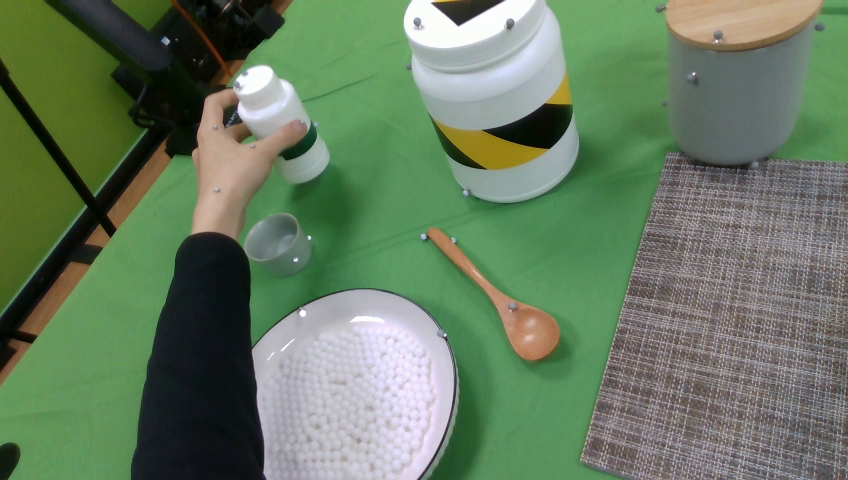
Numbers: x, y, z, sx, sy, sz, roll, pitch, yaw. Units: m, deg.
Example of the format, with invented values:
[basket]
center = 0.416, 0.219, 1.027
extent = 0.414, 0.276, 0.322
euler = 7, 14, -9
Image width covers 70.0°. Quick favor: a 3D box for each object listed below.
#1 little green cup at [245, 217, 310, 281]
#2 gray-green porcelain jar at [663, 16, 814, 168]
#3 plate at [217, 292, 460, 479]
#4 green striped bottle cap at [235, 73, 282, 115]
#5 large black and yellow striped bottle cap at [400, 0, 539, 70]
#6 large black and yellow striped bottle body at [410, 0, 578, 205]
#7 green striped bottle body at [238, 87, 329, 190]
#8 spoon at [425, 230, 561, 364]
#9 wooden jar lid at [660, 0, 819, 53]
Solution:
[little green cup]
center = -0.150, 0.011, 0.629
extent = 0.061, 0.039, 0.061
euler = -14, 47, 16
[gray-green porcelain jar]
center = 0.258, -0.134, 0.511
extent = 0.105, 0.128, 0.105
euler = -11, 47, 12
[plate]
center = -0.067, 0.139, 0.497
extent = 0.209, 0.038, 0.207
euler = -11, 50, 14
[green striped bottle cap]
center = -0.167, -0.147, 0.610
extent = 0.044, 0.020, 0.044
euler = -8, 54, 12
[large black and yellow striped bottle cap]
center = 0.036, -0.182, 0.494
extent = 0.115, 0.019, 0.114
euler = -11, 50, 13
[large black and yellow striped bottle body]
center = 0.065, -0.135, 0.557
extent = 0.130, 0.186, 0.129
euler = -11, 51, 15
[green striped bottle body]
center = -0.154, -0.115, 0.649
extent = 0.063, 0.120, 0.062
euler = -10, 50, 13
[spoon]
center = 0.053, 0.040, 0.534
extent = 0.041, 0.022, 0.191
euler = -50, 50, 7
[wooden jar lid]
center = 0.240, -0.174, 0.466
extent = 0.108, 0.021, 0.107
euler = -14, 47, 16
